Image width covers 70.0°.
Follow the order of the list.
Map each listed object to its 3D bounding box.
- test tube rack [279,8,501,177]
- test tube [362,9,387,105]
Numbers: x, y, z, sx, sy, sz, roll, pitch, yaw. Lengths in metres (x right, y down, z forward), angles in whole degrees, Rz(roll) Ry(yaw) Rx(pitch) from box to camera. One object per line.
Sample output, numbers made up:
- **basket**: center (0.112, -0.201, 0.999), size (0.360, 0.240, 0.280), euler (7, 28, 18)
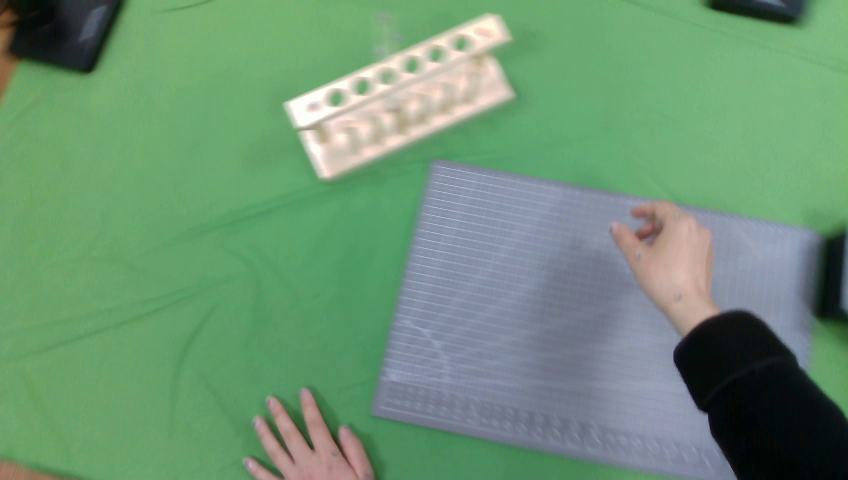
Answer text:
- **test tube rack**: center (-0.031, -0.163, 0.685), size (0.242, 0.085, 0.066), euler (-26, 77, -5)
- **test tube**: center (-0.051, -0.187, 0.640), size (0.017, 0.151, 0.017), euler (0, 71, 0)
